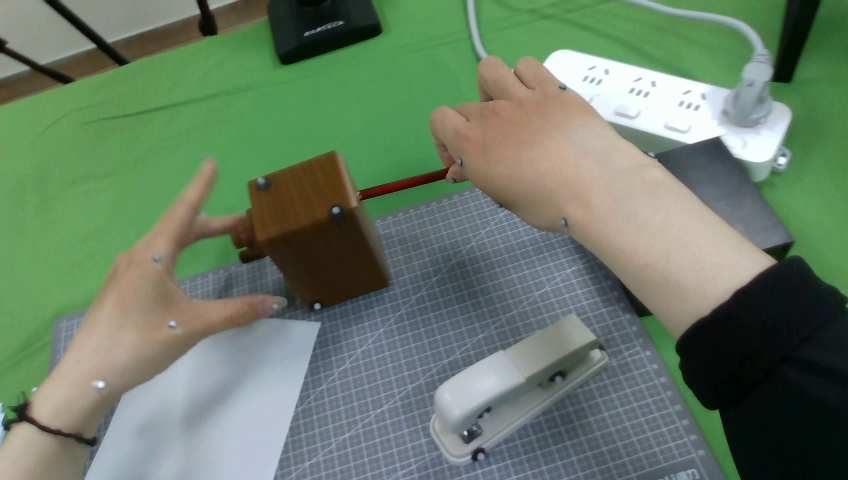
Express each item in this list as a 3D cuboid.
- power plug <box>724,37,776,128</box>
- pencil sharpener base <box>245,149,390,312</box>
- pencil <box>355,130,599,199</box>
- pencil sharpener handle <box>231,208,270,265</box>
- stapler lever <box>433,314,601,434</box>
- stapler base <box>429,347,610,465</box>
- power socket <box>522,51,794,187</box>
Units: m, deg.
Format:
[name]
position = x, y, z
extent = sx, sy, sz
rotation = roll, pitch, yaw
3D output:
[power plug]
position = 0.266, -0.116, 0.478
extent = 0.035, 0.053, 0.072
rotation = 35, 70, 30
[pencil sharpener base]
position = -0.077, -0.003, 0.451
extent = 0.077, 0.108, 0.060
rotation = -20, 54, -1
[pencil]
position = 0.029, -0.051, 0.427
extent = 0.194, 0.012, 0.012
rotation = -14, 54, -1
[pencil sharpener handle]
position = -0.129, 0.003, 0.442
extent = 0.030, 0.068, 0.036
rotation = -20, 75, -1
[stapler lever]
position = 0.059, 0.082, 0.384
extent = 0.118, 0.040, 0.026
rotation = -30, 56, -11
[stapler base]
position = 0.062, 0.098, 0.404
extent = 0.130, 0.025, 0.041
rotation = -30, 56, -11
[power socket]
position = 0.194, -0.108, 0.517
extent = 0.225, 0.033, 0.072
rotation = 24, 63, 26
